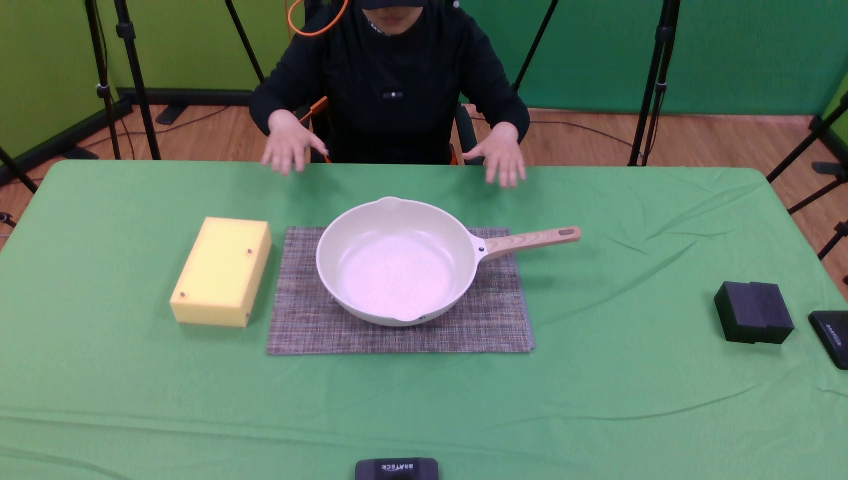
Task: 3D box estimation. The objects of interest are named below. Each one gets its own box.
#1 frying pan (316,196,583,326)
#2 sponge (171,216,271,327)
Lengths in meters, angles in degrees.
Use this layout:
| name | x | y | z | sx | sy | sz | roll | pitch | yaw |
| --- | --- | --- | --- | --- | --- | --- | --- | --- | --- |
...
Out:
| name | x | y | z | sx | sy | sz | roll | pitch | yaw |
| --- | --- | --- | --- | --- | --- | --- | --- | --- | --- |
| frying pan | 0.054 | 0.027 | 1.114 | 0.488 | 0.103 | 0.304 | -9 | 48 | -1 |
| sponge | -0.360 | 0.053 | 1.094 | 0.118 | 0.061 | 0.205 | 3 | 46 | -1 |
